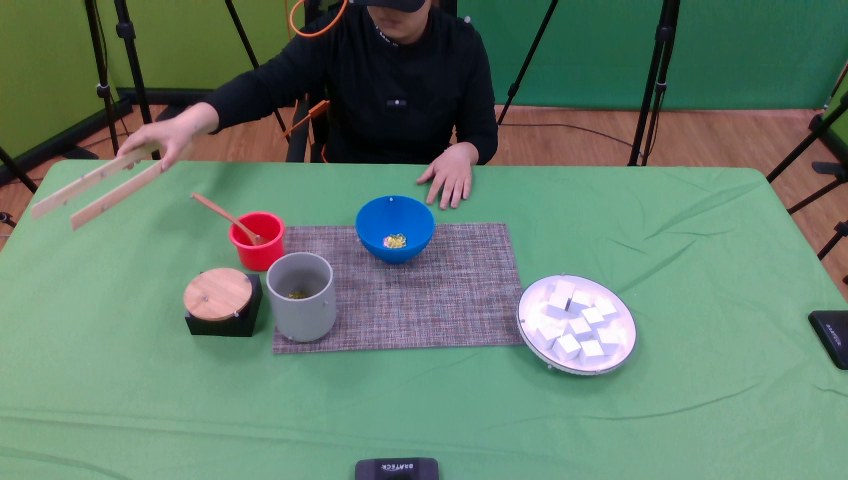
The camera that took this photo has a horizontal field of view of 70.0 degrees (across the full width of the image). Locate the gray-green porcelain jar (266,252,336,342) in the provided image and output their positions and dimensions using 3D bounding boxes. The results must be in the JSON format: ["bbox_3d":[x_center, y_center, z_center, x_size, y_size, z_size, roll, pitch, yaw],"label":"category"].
[{"bbox_3d":[-0.202,0.100,1.009,0.106,0.127,0.105,2,46,-2],"label":"gray-green porcelain jar"}]

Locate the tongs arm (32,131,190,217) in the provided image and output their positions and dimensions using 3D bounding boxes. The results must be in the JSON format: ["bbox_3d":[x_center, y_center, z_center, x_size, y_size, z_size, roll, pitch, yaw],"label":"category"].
[{"bbox_3d":[-0.546,-0.129,1.099,0.051,0.026,0.383,13,30,5],"label":"tongs arm"}]

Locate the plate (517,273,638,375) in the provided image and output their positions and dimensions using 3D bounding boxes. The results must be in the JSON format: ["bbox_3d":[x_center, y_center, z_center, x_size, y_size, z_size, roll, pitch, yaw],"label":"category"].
[{"bbox_3d":[0.264,0.149,1.060,0.209,0.038,0.208,3,46,-3],"label":"plate"}]

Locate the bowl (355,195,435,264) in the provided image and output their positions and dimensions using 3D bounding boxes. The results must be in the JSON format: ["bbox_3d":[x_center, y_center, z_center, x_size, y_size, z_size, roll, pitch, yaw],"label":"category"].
[{"bbox_3d":[-0.056,-0.008,1.158,0.151,0.077,0.150,2,46,-2],"label":"bowl"}]

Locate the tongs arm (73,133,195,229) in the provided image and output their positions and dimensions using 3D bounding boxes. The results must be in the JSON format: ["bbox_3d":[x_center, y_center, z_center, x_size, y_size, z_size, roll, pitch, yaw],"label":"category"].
[{"bbox_3d":[-0.506,-0.118,1.095,0.028,0.028,0.386,10,30,6],"label":"tongs arm"}]

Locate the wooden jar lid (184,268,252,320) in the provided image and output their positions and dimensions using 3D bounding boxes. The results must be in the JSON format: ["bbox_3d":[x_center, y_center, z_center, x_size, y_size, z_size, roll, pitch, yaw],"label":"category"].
[{"bbox_3d":[-0.343,0.092,1.015,0.108,0.021,0.107,3,46,-3],"label":"wooden jar lid"}]

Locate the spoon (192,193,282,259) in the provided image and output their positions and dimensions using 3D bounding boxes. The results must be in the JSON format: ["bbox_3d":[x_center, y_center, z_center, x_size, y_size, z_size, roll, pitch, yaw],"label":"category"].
[{"bbox_3d":[-0.342,-0.027,1.115,0.194,0.021,0.041,43,40,-24],"label":"spoon"}]
